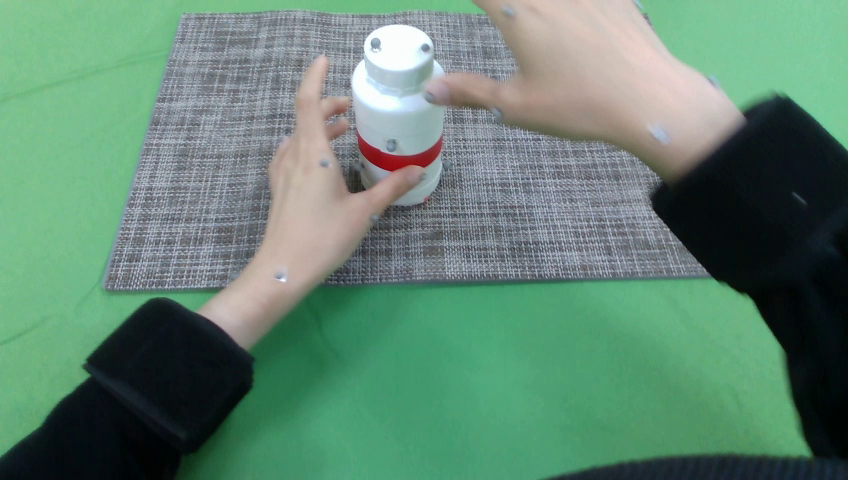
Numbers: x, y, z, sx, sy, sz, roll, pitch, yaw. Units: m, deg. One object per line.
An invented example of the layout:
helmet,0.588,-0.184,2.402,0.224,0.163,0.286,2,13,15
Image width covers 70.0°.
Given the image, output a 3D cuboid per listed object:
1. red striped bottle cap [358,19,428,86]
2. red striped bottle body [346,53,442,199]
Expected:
red striped bottle cap,-0.019,-0.118,0.377,0.044,0.018,0.044,2,59,-3
red striped bottle body,-0.020,-0.088,0.421,0.063,0.120,0.062,1,56,-1
